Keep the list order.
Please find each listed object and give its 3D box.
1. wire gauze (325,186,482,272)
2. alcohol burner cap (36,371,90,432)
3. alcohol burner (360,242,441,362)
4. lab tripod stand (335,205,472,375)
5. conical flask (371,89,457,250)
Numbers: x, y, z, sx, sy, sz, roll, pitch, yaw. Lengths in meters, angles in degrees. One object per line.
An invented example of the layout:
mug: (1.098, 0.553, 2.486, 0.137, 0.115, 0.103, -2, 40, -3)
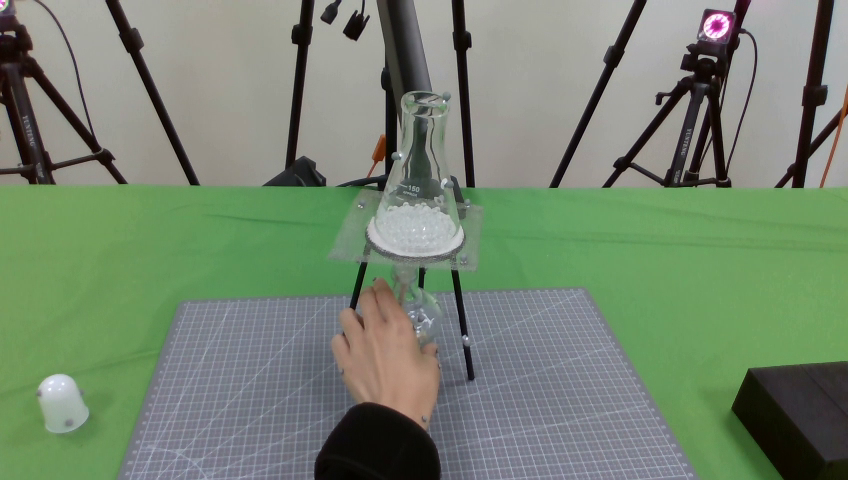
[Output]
wire gauze: (-0.012, -0.010, 0.531, 0.121, 0.011, 0.124, 7, 34, 4)
alcohol burner cap: (-0.296, 0.128, 0.492, 0.034, 0.048, 0.033, 2, 32, -1)
alcohol burner: (-0.022, 0.055, 0.570, 0.078, 0.120, 0.077, 2, 30, -1)
lab tripod stand: (-0.009, 0.046, 0.566, 0.148, 0.132, 0.147, 5, 31, -3)
conical flask: (-0.005, -0.059, 0.497, 0.075, 0.123, 0.074, 4, 32, -2)
